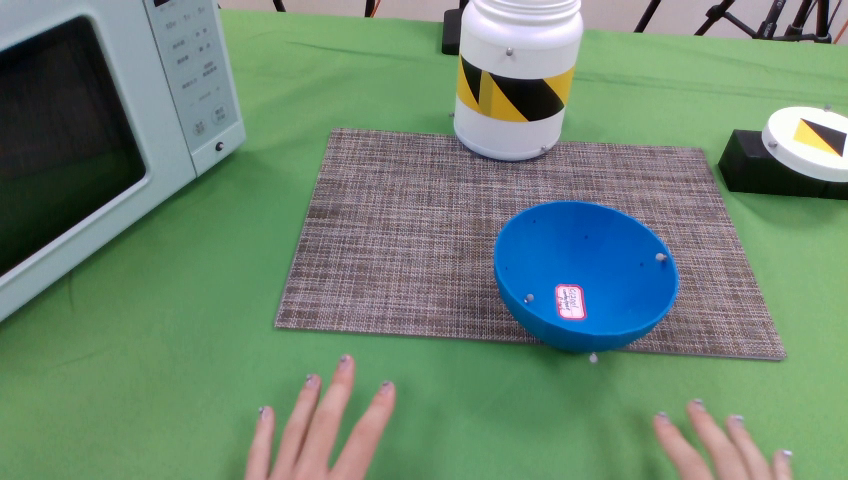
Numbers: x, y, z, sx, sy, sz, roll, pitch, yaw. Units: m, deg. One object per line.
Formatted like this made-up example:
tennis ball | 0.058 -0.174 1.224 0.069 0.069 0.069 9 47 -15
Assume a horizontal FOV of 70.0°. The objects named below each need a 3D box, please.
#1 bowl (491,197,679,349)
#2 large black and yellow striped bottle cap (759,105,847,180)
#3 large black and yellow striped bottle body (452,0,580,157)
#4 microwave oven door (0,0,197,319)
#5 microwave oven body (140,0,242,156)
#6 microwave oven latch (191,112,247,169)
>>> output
bowl | 0.129 0.041 0.523 0.151 0.077 0.150 1 46 -1
large black and yellow striped bottle cap | 0.429 -0.108 0.659 0.115 0.019 0.114 1 46 0
large black and yellow striped bottle body | 0.101 -0.202 0.682 0.131 0.185 0.129 2 43 -1
microwave oven door | -0.341 -0.051 0.455 0.039 0.246 0.354 24 50 20
microwave oven body | -0.445 -0.129 0.532 0.324 0.262 0.440 25 51 19
microwave oven latch | -0.229 -0.112 0.661 0.030 0.030 0.079 26 51 20
